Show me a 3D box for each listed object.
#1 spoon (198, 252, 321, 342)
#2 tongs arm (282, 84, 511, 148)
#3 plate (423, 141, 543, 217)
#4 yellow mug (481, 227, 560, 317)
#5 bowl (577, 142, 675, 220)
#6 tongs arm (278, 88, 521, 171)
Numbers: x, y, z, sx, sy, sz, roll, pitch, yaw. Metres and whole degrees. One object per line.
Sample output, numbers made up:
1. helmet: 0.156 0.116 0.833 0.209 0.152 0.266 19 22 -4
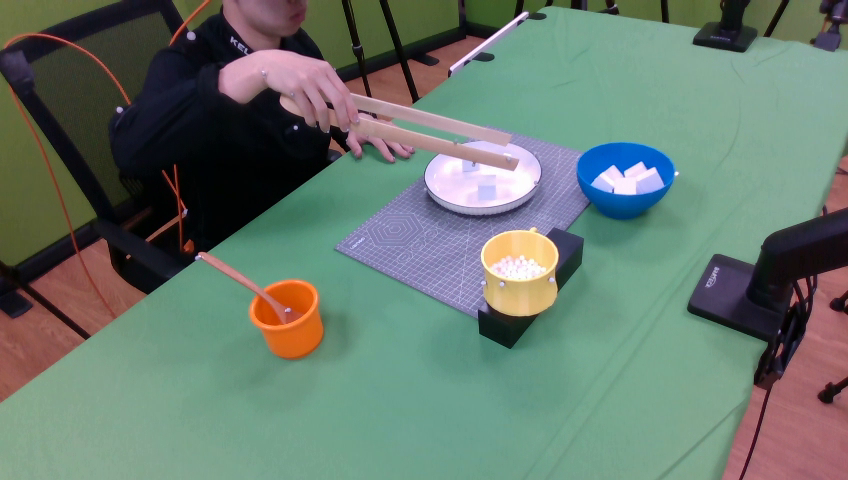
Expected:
1. spoon: -0.220 0.075 0.815 0.021 0.194 0.041 -36 19 40
2. tongs arm: -0.035 -0.194 0.968 0.390 0.028 0.028 9 44 -21
3. plate: 0.103 -0.103 1.059 0.207 0.039 0.206 -4 40 4
4. yellow mug: 0.132 0.032 0.801 0.099 0.064 0.131 11 43 20
5. bowl: 0.322 -0.086 0.980 0.151 0.077 0.150 -4 40 4
6. tongs arm: -0.029 -0.167 0.936 0.387 0.026 0.050 9 41 -20
